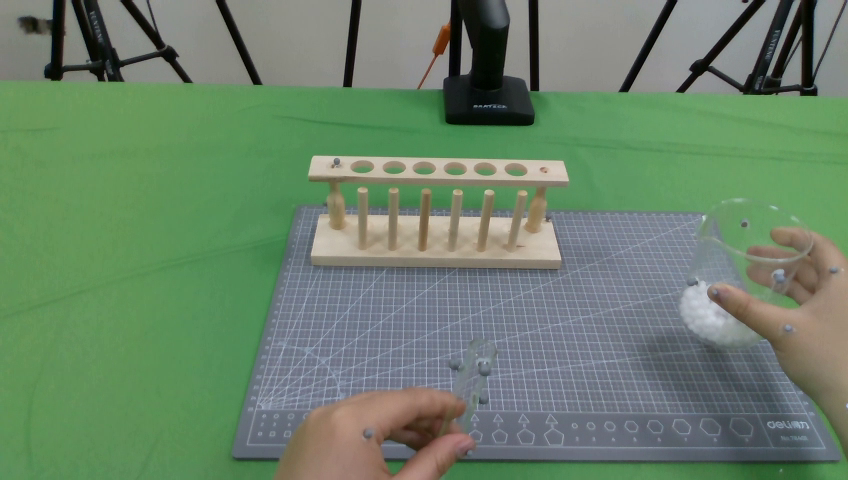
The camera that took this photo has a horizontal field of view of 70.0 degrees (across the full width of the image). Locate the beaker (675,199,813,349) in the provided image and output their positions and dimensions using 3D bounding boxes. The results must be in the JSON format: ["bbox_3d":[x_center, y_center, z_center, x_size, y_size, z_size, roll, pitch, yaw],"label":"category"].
[{"bbox_3d":[0.240,0.030,0.473,0.084,0.101,0.073,-1,39,1],"label":"beaker"}]

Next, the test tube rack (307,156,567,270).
[{"bbox_3d":[0.011,-0.026,0.587,0.242,0.086,0.066,1,41,-2],"label":"test tube rack"}]

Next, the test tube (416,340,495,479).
[{"bbox_3d":[0.012,0.118,0.352,0.017,0.151,0.017,13,30,-7],"label":"test tube"}]
